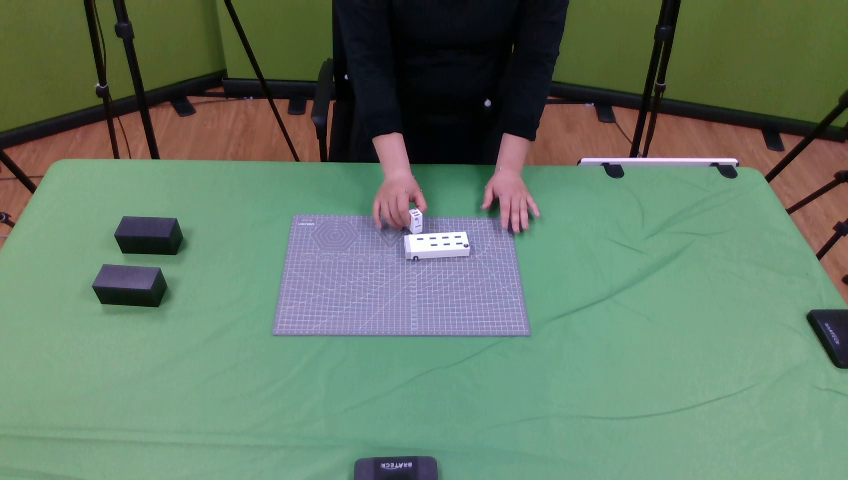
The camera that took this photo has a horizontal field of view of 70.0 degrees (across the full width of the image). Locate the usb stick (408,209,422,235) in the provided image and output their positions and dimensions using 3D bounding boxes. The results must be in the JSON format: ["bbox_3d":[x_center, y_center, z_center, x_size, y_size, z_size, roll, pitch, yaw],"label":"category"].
[{"bbox_3d":[-0.018,-0.031,1.197,0.021,0.059,0.027,-21,49,-21],"label":"usb stick"}]

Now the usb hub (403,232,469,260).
[{"bbox_3d":[0.023,0.012,1.181,0.125,0.025,0.049,-3,47,-7],"label":"usb hub"}]
